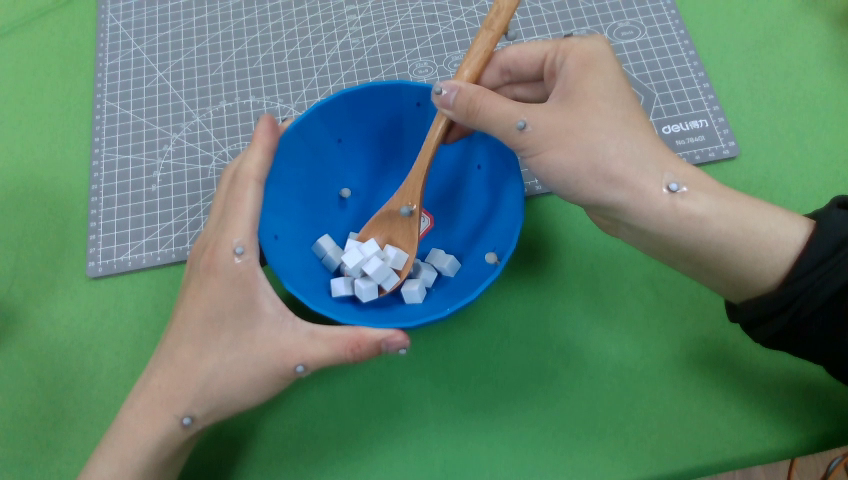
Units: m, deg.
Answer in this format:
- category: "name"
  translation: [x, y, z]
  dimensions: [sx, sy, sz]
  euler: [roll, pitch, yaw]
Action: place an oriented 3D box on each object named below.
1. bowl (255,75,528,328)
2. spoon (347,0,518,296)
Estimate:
- category: "bowl"
  translation: [-0.016, -0.014, 0.368]
  dimensions: [0.151, 0.077, 0.150]
  euler: [-1, 71, 2]
- category: "spoon"
  translation: [0.007, -0.055, 0.330]
  dimensions: [0.041, 0.022, 0.194]
  euler: [34, 108, 25]
